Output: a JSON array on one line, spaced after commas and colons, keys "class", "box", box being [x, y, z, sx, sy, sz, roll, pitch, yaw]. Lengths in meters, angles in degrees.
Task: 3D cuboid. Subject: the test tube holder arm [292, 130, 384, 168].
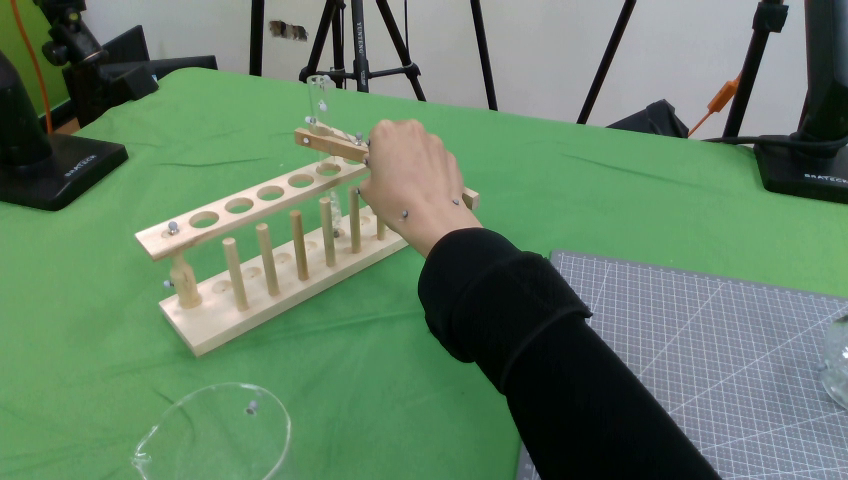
[{"class": "test tube holder arm", "box": [-0.071, -0.077, 0.511, 0.087, 0.015, 0.010, 15, 45, 17]}]

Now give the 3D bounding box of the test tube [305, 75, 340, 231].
[{"class": "test tube", "box": [-0.089, -0.071, 0.536, 0.017, 0.151, 0.017, 0, 36, 0]}]

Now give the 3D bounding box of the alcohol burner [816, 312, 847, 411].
[{"class": "alcohol burner", "box": [0.330, 0.069, 0.426, 0.078, 0.120, 0.077, 1, 37, 0]}]

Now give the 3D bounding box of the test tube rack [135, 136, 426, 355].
[{"class": "test tube rack", "box": [-0.110, -0.005, 0.532, 0.242, 0.086, 0.066, -28, 47, -32]}]

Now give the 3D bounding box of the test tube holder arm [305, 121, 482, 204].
[{"class": "test tube holder arm", "box": [-0.030, -0.066, 0.498, 0.177, 0.015, 0.013, 23, 49, 25]}]

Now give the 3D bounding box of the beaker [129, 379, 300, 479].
[{"class": "beaker", "box": [-0.109, 0.140, 0.340, 0.084, 0.101, 0.073, -5, 39, -7]}]
